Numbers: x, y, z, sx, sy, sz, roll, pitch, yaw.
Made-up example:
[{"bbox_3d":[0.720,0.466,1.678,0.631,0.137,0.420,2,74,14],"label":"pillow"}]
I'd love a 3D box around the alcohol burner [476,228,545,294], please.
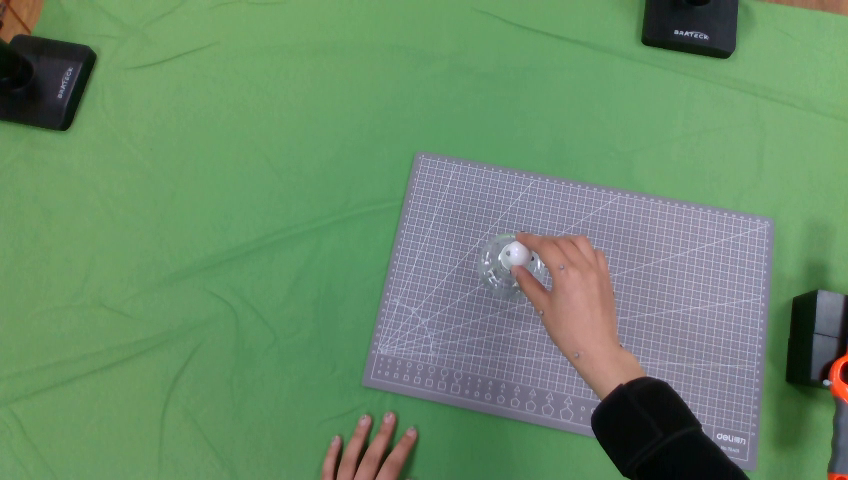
[{"bbox_3d":[0.099,0.019,0.675,0.078,0.119,0.077,1,74,-2],"label":"alcohol burner"}]

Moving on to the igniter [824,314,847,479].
[{"bbox_3d":[0.463,0.121,0.645,0.057,0.025,0.275,16,74,7],"label":"igniter"}]

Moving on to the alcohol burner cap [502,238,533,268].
[{"bbox_3d":[0.100,0.013,0.638,0.034,0.048,0.034,0,86,6],"label":"alcohol burner cap"}]
